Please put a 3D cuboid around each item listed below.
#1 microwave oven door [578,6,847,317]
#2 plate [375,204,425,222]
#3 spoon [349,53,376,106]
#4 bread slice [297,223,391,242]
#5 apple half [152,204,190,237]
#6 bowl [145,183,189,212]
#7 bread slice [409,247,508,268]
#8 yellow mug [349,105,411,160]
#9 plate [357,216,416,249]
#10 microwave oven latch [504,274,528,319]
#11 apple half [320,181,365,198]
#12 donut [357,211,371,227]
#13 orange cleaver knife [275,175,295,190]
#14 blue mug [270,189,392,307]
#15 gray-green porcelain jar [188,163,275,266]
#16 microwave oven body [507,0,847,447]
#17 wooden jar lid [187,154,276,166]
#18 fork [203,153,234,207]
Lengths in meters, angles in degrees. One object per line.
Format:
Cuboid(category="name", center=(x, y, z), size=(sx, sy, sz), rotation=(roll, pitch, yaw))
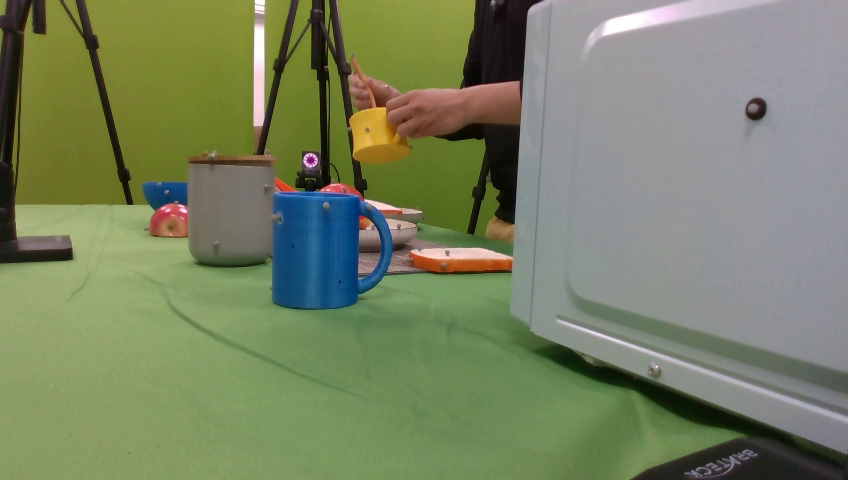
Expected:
Cuboid(category="microwave oven door", center=(0.294, -0.067, 0.570), size=(0.358, 0.243, 0.039), rotation=(-3, 9, -31))
Cuboid(category="plate", center=(-0.102, -0.053, 1.299), size=(0.209, 0.038, 0.209), rotation=(2, 8, 0))
Cuboid(category="spoon", center=(-0.094, -0.246, 1.059), size=(0.022, 0.193, 0.041), rotation=(-18, -14, -8))
Cuboid(category="bread slice", center=(-0.121, -0.014, 0.970), size=(0.106, 0.018, 0.135), rotation=(9, 11, 42))
Cuboid(category="apple half", center=(-0.415, -0.034, 1.017), size=(0.081, 0.053, 0.074), rotation=(1, 10, -9))
Cuboid(category="bowl", center=(-0.459, -0.069, 1.175), size=(0.151, 0.077, 0.151), rotation=(3, 7, 0))
Cuboid(category="bread slice", center=(0.048, 0.022, 0.816), size=(0.132, 0.019, 0.104), rotation=(1, 6, -24))
Cuboid(category="yellow mug", center=(-0.069, -0.187, 1.026), size=(0.100, 0.064, 0.130), rotation=(-2, -10, -31))
Cuboid(category="plate", center=(-0.116, -0.014, 0.967), size=(0.208, 0.039, 0.207), rotation=(2, 7, 0))
Cuboid(category="microwave oven latch", center=(0.100, 0.041, 0.471), size=(0.079, 0.029, 0.030), rotation=(-1, 7, -28))
Cuboid(category="apple half", center=(-0.130, -0.077, 0.952), size=(0.081, 0.033, 0.081), rotation=(3, 14, -1))
Cuboid(category="donut", center=(-0.132, -0.041, 0.959), size=(0.099, 0.048, 0.099), rotation=(3, 8, 0))
Cuboid(category="orange cleaver knife", center=(-0.283, -0.087, 1.343), size=(0.212, 0.077, 0.012), rotation=(24, -16, -41))
Cuboid(category="blue mug", center=(-0.090, 0.005, 0.588), size=(0.117, 0.106, 0.082), rotation=(1, 7, -11))
Cuboid(category="gray-green porcelain jar", center=(-0.246, -0.034, 0.779), size=(0.106, 0.126, 0.106), rotation=(1, 7, 0))
Cuboid(category="microwave oven body", center=(0.331, -0.042, 0.425), size=(0.444, 0.260, 0.324), rotation=(-2, 8, -31))
Cuboid(category="wooden jar lid", center=(-0.244, -0.097, 0.771), size=(0.108, 0.020, 0.108), rotation=(-1, 7, 0))
Cuboid(category="fork", center=(-0.480, -0.135, 1.411), size=(0.028, 0.018, 0.207), rotation=(1, -34, 0))
